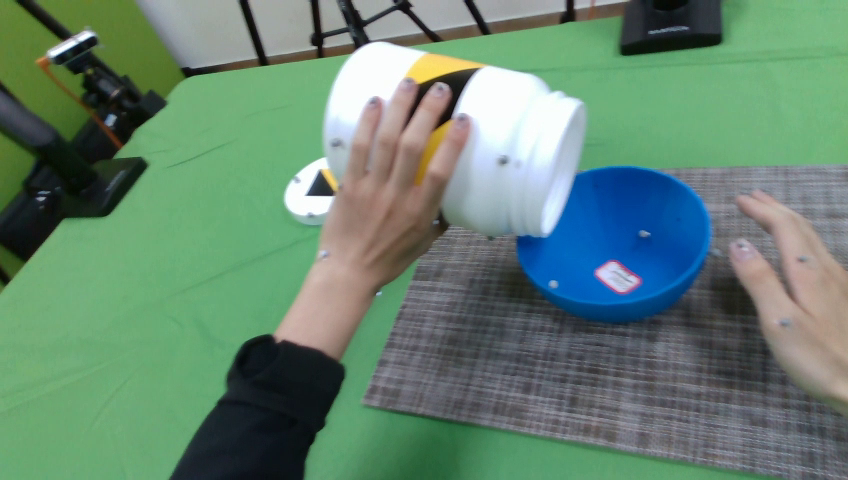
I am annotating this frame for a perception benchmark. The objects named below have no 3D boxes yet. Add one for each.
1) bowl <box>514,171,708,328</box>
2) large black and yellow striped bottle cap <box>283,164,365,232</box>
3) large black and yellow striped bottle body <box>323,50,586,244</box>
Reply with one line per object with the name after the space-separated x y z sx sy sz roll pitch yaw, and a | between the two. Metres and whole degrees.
0.157 0.021 0.510 0.151 0.077 0.150 -13 44 13 | bowl
-0.123 -0.057 0.766 0.115 0.019 0.114 -11 45 12 | large black and yellow striped bottle cap
0.027 -0.074 0.496 0.183 0.132 0.130 18 57 19 | large black and yellow striped bottle body
